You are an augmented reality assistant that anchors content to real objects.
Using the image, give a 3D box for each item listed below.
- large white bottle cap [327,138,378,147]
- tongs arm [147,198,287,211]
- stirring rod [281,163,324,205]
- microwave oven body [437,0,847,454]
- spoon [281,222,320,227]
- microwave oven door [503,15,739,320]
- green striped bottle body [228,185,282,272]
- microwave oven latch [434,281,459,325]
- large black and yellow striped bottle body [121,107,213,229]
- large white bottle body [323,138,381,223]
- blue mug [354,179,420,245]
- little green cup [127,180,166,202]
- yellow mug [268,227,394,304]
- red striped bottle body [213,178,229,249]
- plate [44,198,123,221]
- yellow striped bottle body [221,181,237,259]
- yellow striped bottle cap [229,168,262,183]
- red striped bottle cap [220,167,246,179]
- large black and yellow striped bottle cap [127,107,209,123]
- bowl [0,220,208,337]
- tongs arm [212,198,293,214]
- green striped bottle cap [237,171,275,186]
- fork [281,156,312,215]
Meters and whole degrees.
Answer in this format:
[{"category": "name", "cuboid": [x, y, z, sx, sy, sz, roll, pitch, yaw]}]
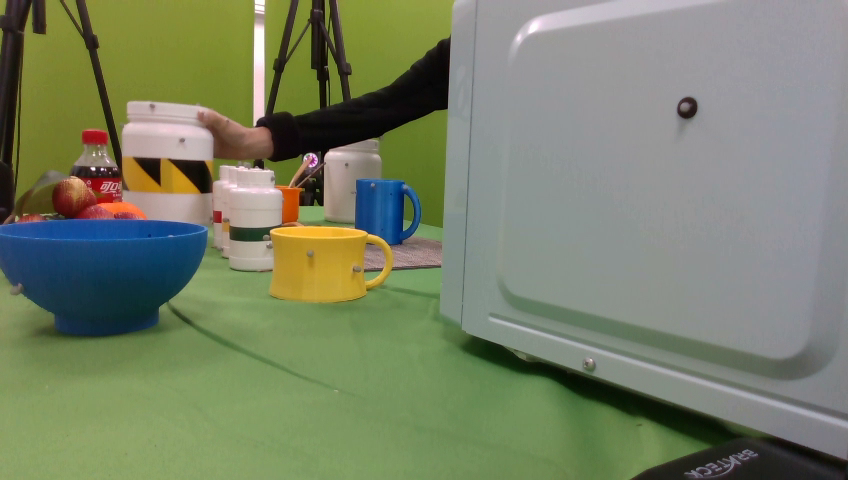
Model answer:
[{"category": "large white bottle cap", "cuboid": [-0.160, -0.218, 1.357, 0.115, 0.018, 0.115, 2, 8, 0]}, {"category": "tongs arm", "cuboid": [-0.504, -0.091, 1.513, 0.028, 0.028, 0.389, -1, 4, 37]}, {"category": "stirring rod", "cuboid": [-0.278, -0.104, 1.293, 0.176, 0.006, 0.014, -47, 24, -18]}, {"category": "microwave oven body", "cuboid": [0.279, -0.040, 0.464, 0.444, 0.260, 0.324, -3, 9, -41]}, {"category": "spoon", "cuboid": [-0.227, -0.023, 1.085, 0.042, 0.021, 0.193, -24, 18, -23]}, {"category": "microwave oven door", "cuboid": [0.218, -0.065, 0.600, 0.358, 0.243, 0.039, -4, 10, -41]}, {"category": "green striped bottle body", "cuboid": [-0.208, -0.023, 0.745, 0.063, 0.119, 0.063, 2, 7, 0]}, {"category": "microwave oven latch", "cuboid": [0.044, 0.045, 0.470, 0.079, 0.029, 0.030, -2, 8, -39]}, {"category": "large black and yellow striped bottle body", "cuboid": [-0.396, -0.108, 0.937, 0.131, 0.184, 0.130, 3, 8, 0]}, {"category": "large white bottle body", "cuboid": [-0.163, -0.135, 1.369, 0.131, 0.184, 0.130, 2, 7, 0]}, {"category": "blue mug", "cuboid": [-0.060, -0.046, 1.006, 0.116, 0.106, 0.082, 5, 8, 20]}, {"category": "little green cup", "cuboid": [-0.485, -0.087, 1.062, 0.061, 0.038, 0.061, 0, 6, 0]}, {"category": "yellow mug", "cuboid": [-0.094, 0.023, 0.630, 0.131, 0.064, 0.099, 0, 8, -22]}, {"category": "red striped bottle body", "cuboid": [-0.283, -0.048, 0.908, 0.063, 0.119, 0.063, 2, 9, 0]}, {"category": "plate", "cuboid": [-0.617, -0.056, 1.179, 0.209, 0.038, 0.209, 3, 7, 0]}, {"category": "yellow striped bottle body", "cuboid": [-0.244, -0.035, 0.823, 0.063, 0.120, 0.063, 3, 8, 0]}, {"category": "yellow striped bottle cap", "cuboid": [-0.240, -0.087, 0.816, 0.044, 0.018, 0.044, -2, 5, 1]}, {"category": "red striped bottle cap", "cuboid": [-0.282, -0.100, 0.901, 0.044, 0.017, 0.044, -1, 5, 0]}, {"category": "large black and yellow striped bottle cap", "cuboid": [-0.391, -0.191, 0.926, 0.115, 0.019, 0.115, 2, 9, 0]}, {"category": "bowl", "cuboid": [-0.251, 0.029, 0.479, 0.151, 0.077, 0.151, 2, 7, 0]}, {"category": "tongs arm", "cuboid": [-0.423, -0.084, 1.472, 0.050, 0.026, 0.386, 2, 6, 21]}, {"category": "green striped bottle cap", "cuboid": [-0.205, -0.075, 0.738, 0.044, 0.020, 0.044, 1, 7, 0]}, {"category": "fork", "cuboid": [-0.289, -0.116, 1.320, 0.028, 0.019, 0.207, 1, 49, 25]}]
